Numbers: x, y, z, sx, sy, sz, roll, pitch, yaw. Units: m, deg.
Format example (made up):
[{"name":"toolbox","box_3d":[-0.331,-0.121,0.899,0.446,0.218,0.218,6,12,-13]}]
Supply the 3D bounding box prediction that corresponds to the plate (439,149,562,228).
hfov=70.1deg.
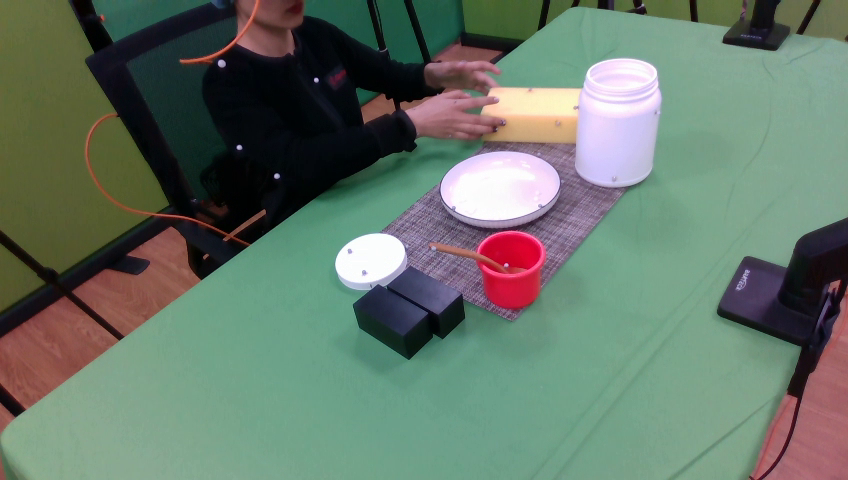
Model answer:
[{"name":"plate","box_3d":[0.131,-0.085,1.040,0.209,0.038,0.208,-5,40,5]}]

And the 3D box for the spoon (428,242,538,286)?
[{"name":"spoon","box_3d":[0.085,0.030,0.831,0.195,0.021,0.041,22,26,-34]}]

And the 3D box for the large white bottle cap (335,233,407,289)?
[{"name":"large white bottle cap","box_3d":[-0.085,0.032,0.961,0.115,0.018,0.114,-6,42,6]}]

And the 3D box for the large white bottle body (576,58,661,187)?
[{"name":"large white bottle body","box_3d":[0.326,-0.197,1.021,0.130,0.185,0.130,-5,40,5]}]

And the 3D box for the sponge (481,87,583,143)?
[{"name":"sponge","box_3d":[0.223,-0.248,1.197,0.206,0.061,0.118,4,40,12]}]
